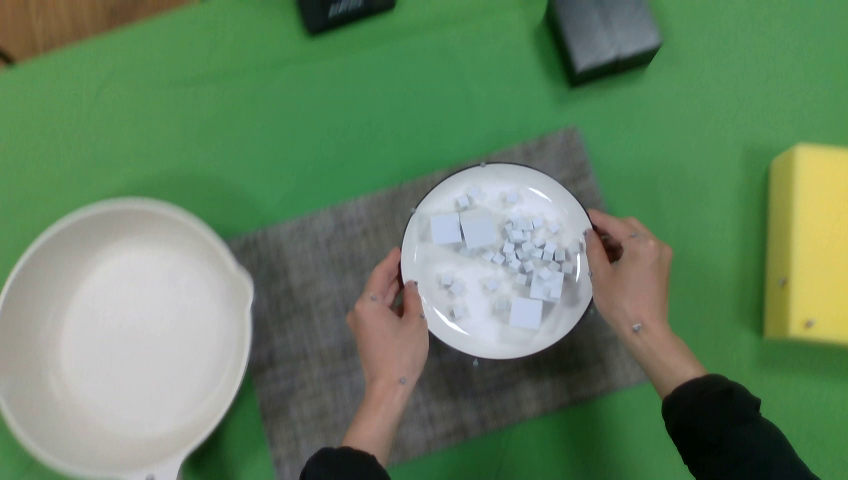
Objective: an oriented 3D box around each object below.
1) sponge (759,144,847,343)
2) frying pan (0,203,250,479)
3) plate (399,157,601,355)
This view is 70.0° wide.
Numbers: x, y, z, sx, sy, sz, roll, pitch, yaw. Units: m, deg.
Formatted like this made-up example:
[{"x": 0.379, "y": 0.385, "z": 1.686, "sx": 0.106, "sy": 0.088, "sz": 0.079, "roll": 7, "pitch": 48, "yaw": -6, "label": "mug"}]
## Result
[{"x": 0.445, "y": 0.006, "z": 0.668, "sx": 0.118, "sy": 0.061, "sz": 0.206, "roll": 5, "pitch": 81, "yaw": 5, "label": "sponge"}, {"x": -0.297, "y": 0.199, "z": 0.652, "sx": 0.307, "sy": 0.103, "sz": 0.484, "roll": -20, "pitch": 72, "yaw": 1, "label": "frying pan"}, {"x": 0.079, "y": 0.017, "z": 0.643, "sx": 0.207, "sy": 0.039, "sz": 0.207, "roll": -1, "pitch": 83, "yaw": 5, "label": "plate"}]
